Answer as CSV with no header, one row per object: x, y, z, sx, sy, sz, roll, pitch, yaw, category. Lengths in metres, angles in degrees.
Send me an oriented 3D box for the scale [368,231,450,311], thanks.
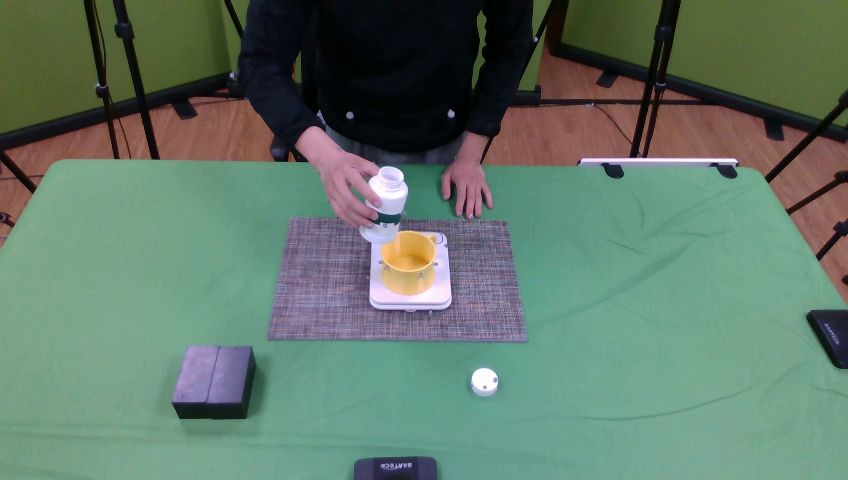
-0.029,0.048,1.137,0.149,0.032,0.199,1,46,-4,scale

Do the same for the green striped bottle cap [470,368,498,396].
0.098,0.231,0.989,0.044,0.020,0.044,2,43,-2,green striped bottle cap

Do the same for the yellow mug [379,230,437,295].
-0.020,0.030,1.089,0.099,0.064,0.130,31,51,24,yellow mug

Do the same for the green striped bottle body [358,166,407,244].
-0.064,-0.057,0.948,0.063,0.120,0.063,10,41,-8,green striped bottle body
